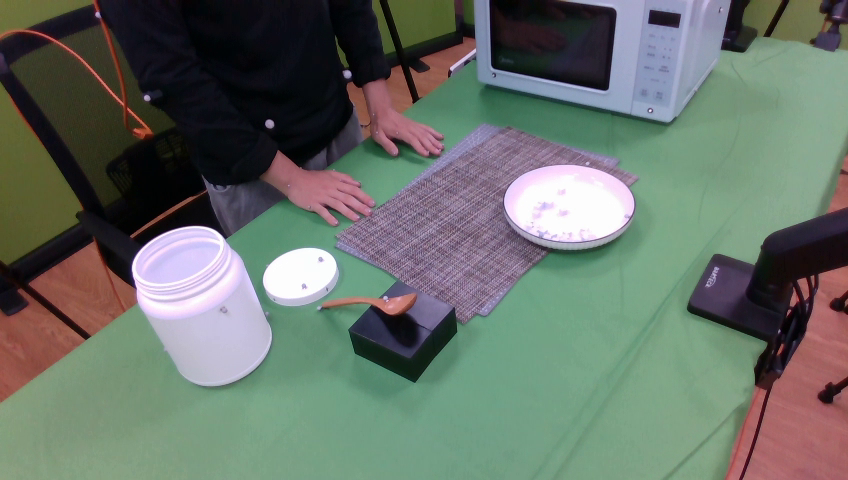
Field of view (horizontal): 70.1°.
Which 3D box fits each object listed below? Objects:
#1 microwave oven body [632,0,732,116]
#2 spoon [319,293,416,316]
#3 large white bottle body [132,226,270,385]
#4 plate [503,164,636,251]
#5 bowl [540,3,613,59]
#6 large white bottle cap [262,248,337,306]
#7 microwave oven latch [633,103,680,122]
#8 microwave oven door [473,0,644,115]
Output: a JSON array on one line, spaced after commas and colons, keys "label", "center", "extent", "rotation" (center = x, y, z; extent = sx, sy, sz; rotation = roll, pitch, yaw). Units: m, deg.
[{"label": "microwave oven body", "center": [0.377, -0.462, 1.267], "extent": [0.438, 0.261, 0.327], "rotation": [21, 48, 30]}, {"label": "spoon", "center": [-0.082, 0.086, 0.826], "extent": [0.192, 0.022, 0.041], "rotation": [-3, 36, 41]}, {"label": "large white bottle body", "center": [-0.286, 0.085, 0.784], "extent": [0.130, 0.185, 0.130], "rotation": [-4, 41, 4]}, {"label": "plate", "center": [0.232, -0.051, 0.976], "extent": [0.209, 0.038, 0.208], "rotation": [-3, 41, 3]}, {"label": "bowl", "center": [0.324, -0.441, 1.298], "extent": [0.151, 0.077, 0.150], "rotation": [-4, 41, 4]}, {"label": "large white bottle cap", "center": [-0.192, 0.056, 0.934], "extent": [0.115, 0.018, 0.114], "rotation": [-4, 41, 4]}, {"label": "microwave oven latch", "center": [0.443, -0.249, 1.157], "extent": [0.078, 0.029, 0.030], "rotation": [20, 48, 29]}, {"label": "microwave oven door", "center": [0.257, -0.396, 1.199], "extent": [0.353, 0.245, 0.039], "rotation": [21, 48, 29]}]
